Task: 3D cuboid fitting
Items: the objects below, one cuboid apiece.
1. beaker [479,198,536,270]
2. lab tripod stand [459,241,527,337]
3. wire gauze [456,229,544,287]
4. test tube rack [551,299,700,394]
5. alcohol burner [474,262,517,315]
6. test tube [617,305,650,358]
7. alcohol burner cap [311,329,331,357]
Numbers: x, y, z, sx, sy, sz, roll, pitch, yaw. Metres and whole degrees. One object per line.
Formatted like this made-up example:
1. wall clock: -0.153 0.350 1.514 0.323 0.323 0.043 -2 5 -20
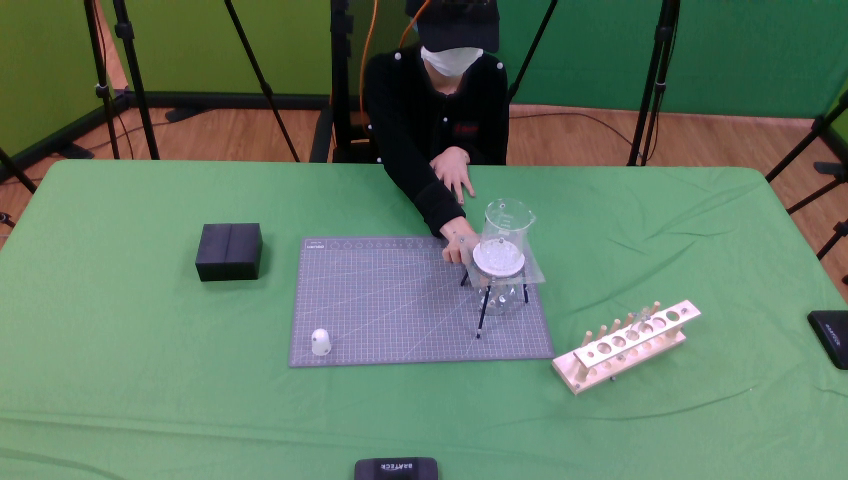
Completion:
1. beaker: 0.131 -0.007 0.975 0.084 0.101 0.073 2 46 -3
2. lab tripod stand: 0.122 0.075 1.054 0.148 0.132 0.147 3 44 -3
3. wire gauze: 0.125 0.030 1.008 0.125 0.011 0.120 -2 48 -11
4. test tube rack: 0.339 0.166 1.021 0.242 0.085 0.066 -19 50 -21
5. alcohol burner: 0.128 0.078 1.066 0.078 0.119 0.077 2 48 -2
6. test tube: 0.333 0.149 0.967 0.017 0.151 0.017 0 52 1
7. alcohol burner cap: -0.173 0.168 1.005 0.034 0.048 0.033 2 46 -2
